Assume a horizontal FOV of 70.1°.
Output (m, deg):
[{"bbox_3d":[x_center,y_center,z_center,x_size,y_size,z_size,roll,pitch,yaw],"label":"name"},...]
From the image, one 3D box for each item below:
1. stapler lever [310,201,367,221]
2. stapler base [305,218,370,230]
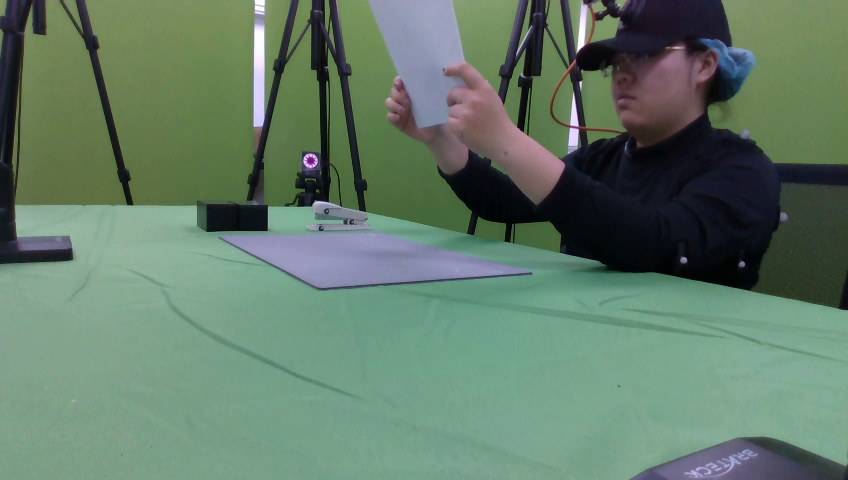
[{"bbox_3d":[-0.170,-0.057,1.213,0.119,0.040,0.026,-1,10,-34],"label":"stapler lever"},{"bbox_3d":[-0.173,-0.034,1.215,0.131,0.024,0.041,0,9,-35],"label":"stapler base"}]
